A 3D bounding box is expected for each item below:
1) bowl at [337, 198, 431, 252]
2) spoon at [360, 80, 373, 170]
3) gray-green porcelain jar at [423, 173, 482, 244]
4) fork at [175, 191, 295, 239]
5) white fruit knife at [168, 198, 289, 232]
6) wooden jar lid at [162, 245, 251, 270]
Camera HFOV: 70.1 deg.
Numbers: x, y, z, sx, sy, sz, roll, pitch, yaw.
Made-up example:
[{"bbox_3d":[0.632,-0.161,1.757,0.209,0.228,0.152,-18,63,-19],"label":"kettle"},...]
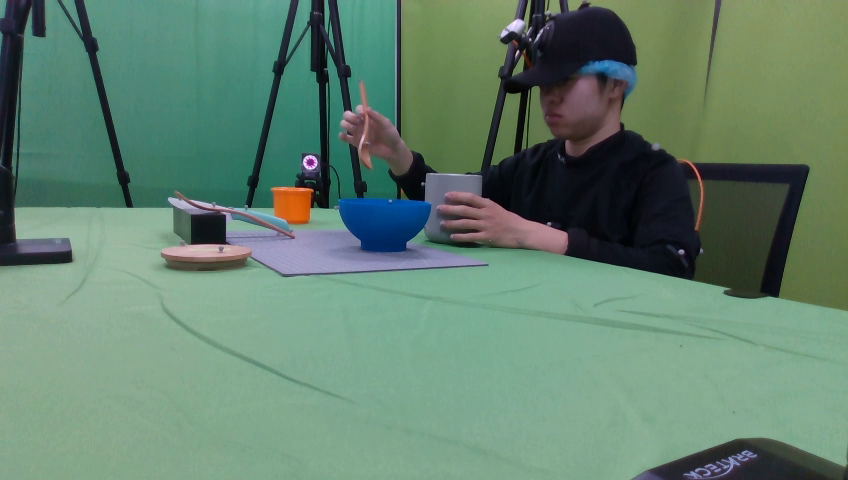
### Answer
[{"bbox_3d":[-0.066,-0.024,0.967,0.151,0.077,0.151,3,7,0],"label":"bowl"},{"bbox_3d":[-0.113,-0.228,1.188,0.021,0.193,0.042,-7,-17,20],"label":"spoon"},{"bbox_3d":[0.051,-0.059,1.116,0.106,0.126,0.106,2,8,0],"label":"gray-green porcelain jar"},{"bbox_3d":[-0.306,-0.039,0.993,0.208,0.018,0.028,19,-8,-34],"label":"fork"},{"bbox_3d":[-0.329,-0.044,1.036,0.208,0.027,0.016,14,-1,-32],"label":"white fruit knife"},{"bbox_3d":[-0.278,0.022,0.777,0.108,0.020,0.108,2,6,0],"label":"wooden jar lid"}]
